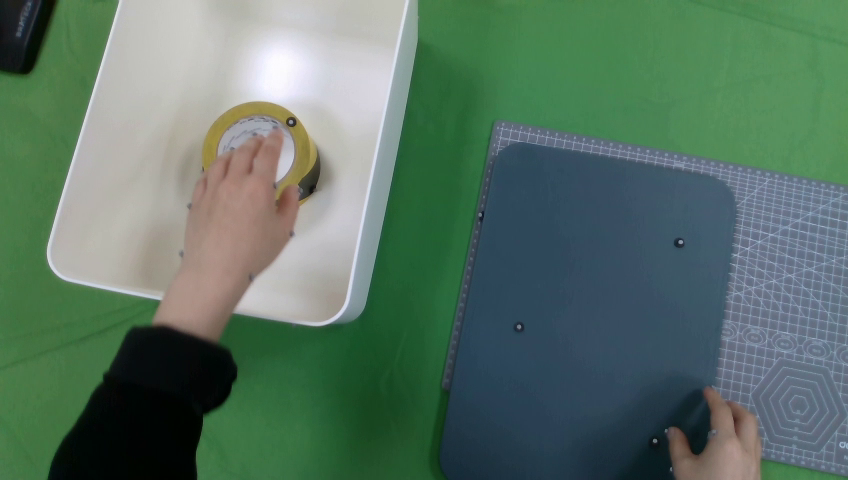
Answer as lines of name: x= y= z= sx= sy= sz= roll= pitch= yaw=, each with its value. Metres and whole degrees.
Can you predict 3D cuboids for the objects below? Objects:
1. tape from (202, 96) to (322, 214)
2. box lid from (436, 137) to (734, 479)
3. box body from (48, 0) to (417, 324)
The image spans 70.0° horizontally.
tape: x=-0.169 y=-0.087 z=0.637 sx=0.117 sy=0.053 sz=0.116 roll=-1 pitch=78 yaw=3
box lid: x=0.171 y=0.083 z=0.630 sx=0.263 sy=0.015 sz=0.370 roll=11 pitch=82 yaw=2
box body: x=-0.156 y=-0.113 z=0.593 sx=0.254 sy=0.161 sz=0.363 roll=10 pitch=81 yaw=2
